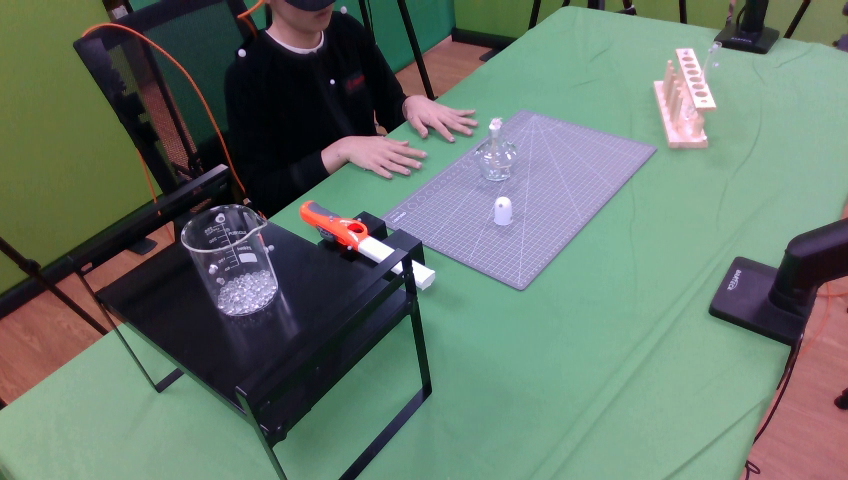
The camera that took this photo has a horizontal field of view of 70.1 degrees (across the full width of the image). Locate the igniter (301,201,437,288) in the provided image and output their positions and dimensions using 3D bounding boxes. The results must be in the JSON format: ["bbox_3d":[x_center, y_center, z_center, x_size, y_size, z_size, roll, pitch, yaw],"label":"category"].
[{"bbox_3d":[-0.094,0.000,0.913,0.274,0.025,0.057,28,49,32],"label":"igniter"}]

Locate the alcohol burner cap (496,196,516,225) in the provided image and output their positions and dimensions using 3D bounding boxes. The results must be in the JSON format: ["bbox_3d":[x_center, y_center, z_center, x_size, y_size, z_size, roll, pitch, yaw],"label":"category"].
[{"bbox_3d":[0.134,-0.051,0.995,0.034,0.048,0.033,-5,42,5],"label":"alcohol burner cap"}]

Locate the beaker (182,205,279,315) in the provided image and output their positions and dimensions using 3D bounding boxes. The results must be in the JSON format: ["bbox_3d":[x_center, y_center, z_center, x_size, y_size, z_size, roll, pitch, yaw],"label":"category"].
[{"bbox_3d":[-0.197,0.024,0.641,0.084,0.101,0.073,-12,41,-6],"label":"beaker"}]

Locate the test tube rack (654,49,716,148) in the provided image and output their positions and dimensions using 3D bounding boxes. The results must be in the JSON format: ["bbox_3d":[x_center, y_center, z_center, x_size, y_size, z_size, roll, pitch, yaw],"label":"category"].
[{"bbox_3d":[0.502,-0.281,1.176,0.066,0.085,0.241,2,41,11],"label":"test tube rack"}]

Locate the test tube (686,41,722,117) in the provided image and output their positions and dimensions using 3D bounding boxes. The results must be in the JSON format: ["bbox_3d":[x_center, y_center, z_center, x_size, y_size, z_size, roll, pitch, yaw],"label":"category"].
[{"bbox_3d":[0.510,-0.290,1.105,0.017,0.150,0.017,2,44,-1],"label":"test tube"}]

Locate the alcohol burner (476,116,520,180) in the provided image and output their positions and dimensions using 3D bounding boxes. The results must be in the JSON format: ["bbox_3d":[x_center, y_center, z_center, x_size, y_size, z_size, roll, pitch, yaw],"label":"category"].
[{"bbox_3d":[0.131,-0.167,1.075,0.078,0.119,0.077,-6,41,6],"label":"alcohol burner"}]
